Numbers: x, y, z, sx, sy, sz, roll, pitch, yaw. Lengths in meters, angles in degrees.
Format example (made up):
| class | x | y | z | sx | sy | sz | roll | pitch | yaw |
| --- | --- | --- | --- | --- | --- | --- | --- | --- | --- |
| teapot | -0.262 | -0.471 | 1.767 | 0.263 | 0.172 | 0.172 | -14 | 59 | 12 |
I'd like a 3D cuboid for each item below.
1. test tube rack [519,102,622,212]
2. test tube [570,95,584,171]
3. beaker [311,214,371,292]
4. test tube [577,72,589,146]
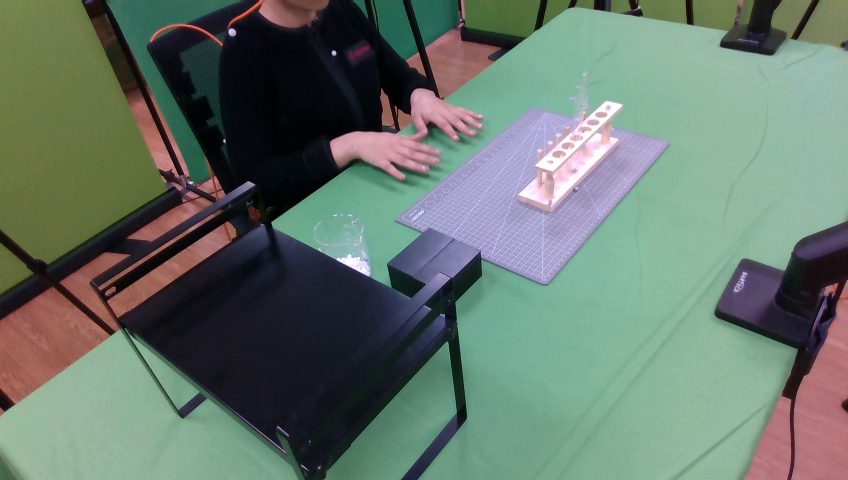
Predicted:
| class | x | y | z | sx | sy | sz | roll | pitch | yaw |
| --- | --- | --- | --- | --- | --- | --- | --- | --- | --- |
| test tube rack | 0.260 | -0.155 | 1.065 | 0.066 | 0.085 | 0.243 | 24 | 50 | 32 |
| test tube | 0.256 | -0.175 | 1.013 | 0.017 | 0.151 | 0.017 | -5 | 47 | 6 |
| beaker | -0.118 | 0.022 | 0.908 | 0.083 | 0.101 | 0.074 | 26 | 51 | 32 |
| test tube | 0.284 | -0.233 | 1.084 | 0.017 | 0.151 | 0.017 | -5 | 44 | 6 |
